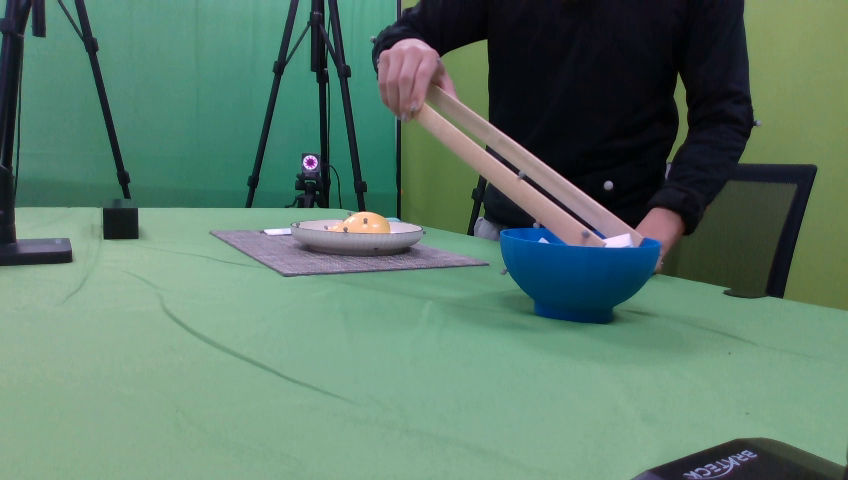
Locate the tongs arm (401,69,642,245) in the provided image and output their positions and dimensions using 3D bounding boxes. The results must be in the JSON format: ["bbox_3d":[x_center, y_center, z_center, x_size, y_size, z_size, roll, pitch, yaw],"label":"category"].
[{"bbox_3d":[0.092,-0.105,0.695,0.028,0.028,0.385,-14,44,-37],"label":"tongs arm"}]

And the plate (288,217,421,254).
[{"bbox_3d":[-0.109,-0.007,0.956,0.208,0.039,0.207,2,7,0],"label":"plate"}]

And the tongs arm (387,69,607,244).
[{"bbox_3d":[0.064,-0.101,0.672,0.051,0.026,0.383,-11,42,-39],"label":"tongs arm"}]

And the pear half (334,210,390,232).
[{"bbox_3d":[-0.107,-0.016,0.920,0.110,0.056,0.076,-5,5,-20],"label":"pear half"}]

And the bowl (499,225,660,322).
[{"bbox_3d":[0.145,0.032,0.584,0.151,0.077,0.151,2,7,0],"label":"bowl"}]

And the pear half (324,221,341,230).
[{"bbox_3d":[-0.126,-0.019,1.001,0.088,0.031,0.070,8,3,1],"label":"pear half"}]

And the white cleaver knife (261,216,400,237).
[{"bbox_3d":[-0.169,-0.021,1.156,0.288,0.021,0.065,-7,21,-33],"label":"white cleaver knife"}]
